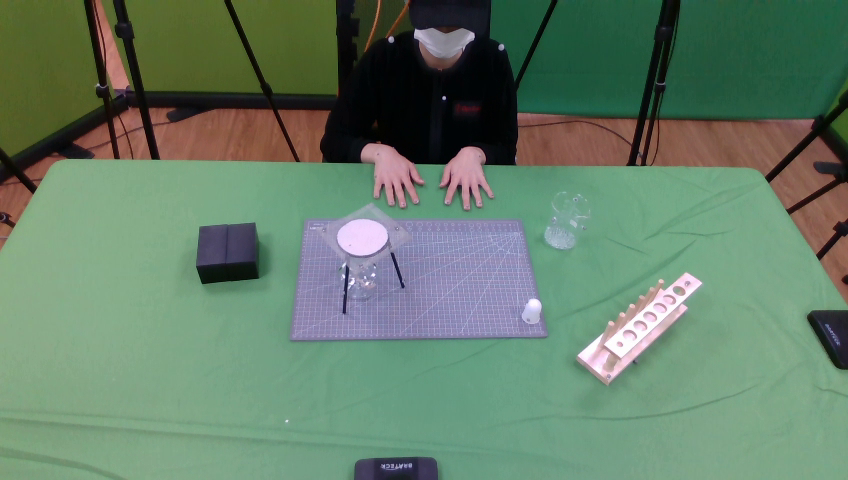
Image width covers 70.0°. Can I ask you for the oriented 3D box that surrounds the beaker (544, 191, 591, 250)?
[{"bbox_3d":[0.282,-0.035,1.199,0.083,0.101,0.074,31,52,23],"label":"beaker"}]

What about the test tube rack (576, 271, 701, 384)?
[{"bbox_3d":[0.373,0.138,1.047,0.242,0.085,0.066,-31,56,-29],"label":"test tube rack"}]

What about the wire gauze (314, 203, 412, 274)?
[{"bbox_3d":[-0.103,-0.009,1.023,0.121,0.011,0.124,-29,53,-27],"label":"wire gauze"}]

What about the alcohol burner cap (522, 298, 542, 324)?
[{"bbox_3d":[0.193,0.124,1.074,0.034,0.048,0.033,2,46,-1],"label":"alcohol burner cap"}]

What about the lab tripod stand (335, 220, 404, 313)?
[{"bbox_3d":[-0.110,0.039,1.070,0.148,0.132,0.147,1,46,-1],"label":"lab tripod stand"}]

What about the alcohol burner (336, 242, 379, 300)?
[{"bbox_3d":[-0.118,0.050,1.072,0.078,0.120,0.077,2,44,-1],"label":"alcohol burner"}]
